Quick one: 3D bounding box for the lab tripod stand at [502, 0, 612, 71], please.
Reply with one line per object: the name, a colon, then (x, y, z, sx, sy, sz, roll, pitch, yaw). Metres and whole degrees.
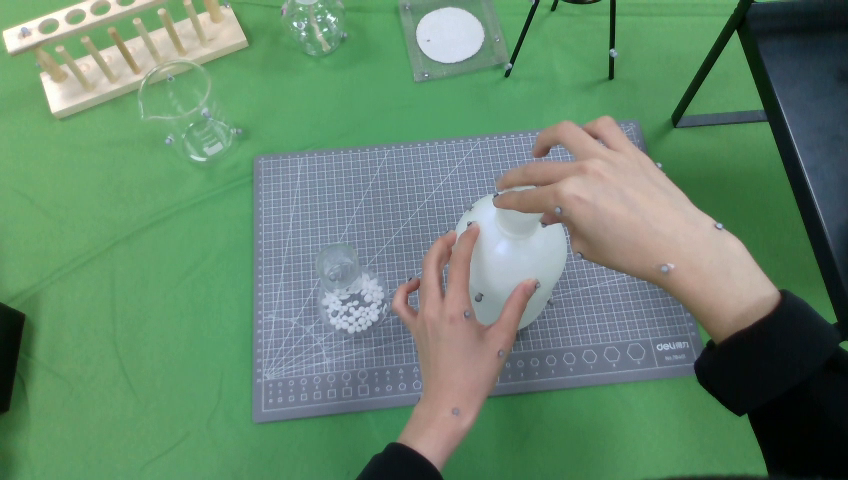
lab tripod stand: (0.163, -0.266, 0.692, 0.148, 0.132, 0.147, 1, 67, -1)

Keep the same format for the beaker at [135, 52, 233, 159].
beaker: (-0.258, -0.140, 0.661, 0.073, 0.101, 0.084, 39, 73, 15)

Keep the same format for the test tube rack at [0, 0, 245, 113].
test tube rack: (-0.346, -0.243, 0.711, 0.242, 0.086, 0.066, -25, 70, -10)

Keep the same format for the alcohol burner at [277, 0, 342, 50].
alcohol burner: (-0.137, -0.283, 0.711, 0.078, 0.120, 0.077, 0, 66, 0)

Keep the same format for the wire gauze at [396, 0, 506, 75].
wire gauze: (0.032, -0.269, 0.761, 0.121, 0.011, 0.124, -10, 68, -5)

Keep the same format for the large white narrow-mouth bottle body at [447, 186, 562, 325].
large white narrow-mouth bottle body: (0.072, 0.007, 0.548, 0.102, 0.196, 0.101, -1, 68, 3)

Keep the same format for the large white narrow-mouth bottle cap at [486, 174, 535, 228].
large white narrow-mouth bottle cap: (0.066, -0.030, 0.461, 0.038, 0.024, 0.037, -1, 68, 3)

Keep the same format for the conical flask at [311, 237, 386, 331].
conical flask: (-0.077, 0.037, 0.575, 0.075, 0.123, 0.075, 0, 67, 1)

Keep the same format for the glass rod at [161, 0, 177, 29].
glass rod: (-0.302, -0.305, 0.664, 0.008, 0.201, 0.008, 2, 66, -3)
